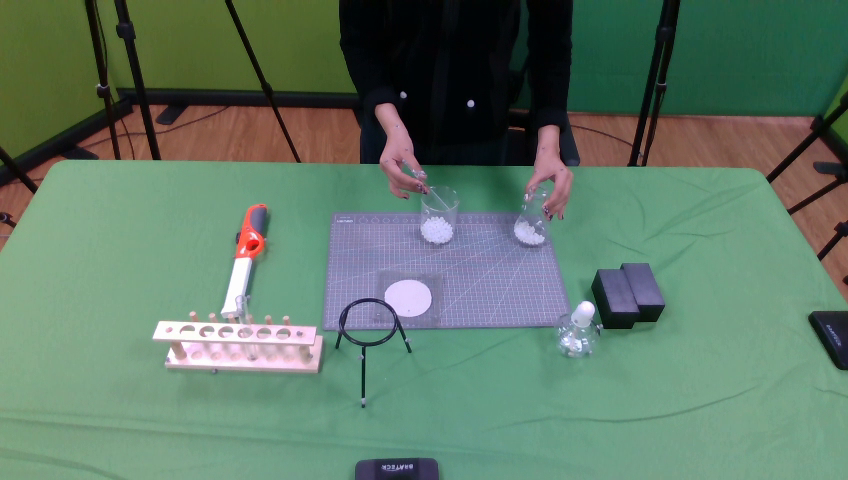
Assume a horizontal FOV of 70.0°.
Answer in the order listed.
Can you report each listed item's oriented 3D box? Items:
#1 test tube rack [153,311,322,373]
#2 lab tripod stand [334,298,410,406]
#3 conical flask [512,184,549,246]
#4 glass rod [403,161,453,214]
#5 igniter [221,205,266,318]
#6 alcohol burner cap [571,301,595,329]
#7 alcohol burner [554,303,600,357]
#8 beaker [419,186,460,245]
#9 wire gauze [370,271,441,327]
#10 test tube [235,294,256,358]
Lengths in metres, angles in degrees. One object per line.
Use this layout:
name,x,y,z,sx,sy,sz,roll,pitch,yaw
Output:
test tube rack,-0.293,0.160,0.978,0.242,0.085,0.066,3,46,-2
lab tripod stand,-0.086,0.164,0.957,0.148,0.132,0.147,3,44,-2
conical flask,0.215,-0.052,1.185,0.075,0.122,0.075,0,45,0
glass rod,0.012,-0.095,1.125,0.008,0.201,0.008,-13,60,24
igniter,-0.337,0.030,1.140,0.057,0.025,0.274,-5,46,3
alcohol burner cap,0.262,0.120,0.991,0.034,0.048,0.033,2,52,-2
alcohol burner,0.260,0.143,1.018,0.078,0.119,0.077,3,45,-3
beaker,0.025,-0.047,1.190,0.074,0.101,0.083,-29,54,-28
wire gauze,-0.032,0.103,1.104,0.125,0.011,0.121,4,46,3
test tube,-0.274,0.136,0.933,0.017,0.151,0.017,4,46,-4
